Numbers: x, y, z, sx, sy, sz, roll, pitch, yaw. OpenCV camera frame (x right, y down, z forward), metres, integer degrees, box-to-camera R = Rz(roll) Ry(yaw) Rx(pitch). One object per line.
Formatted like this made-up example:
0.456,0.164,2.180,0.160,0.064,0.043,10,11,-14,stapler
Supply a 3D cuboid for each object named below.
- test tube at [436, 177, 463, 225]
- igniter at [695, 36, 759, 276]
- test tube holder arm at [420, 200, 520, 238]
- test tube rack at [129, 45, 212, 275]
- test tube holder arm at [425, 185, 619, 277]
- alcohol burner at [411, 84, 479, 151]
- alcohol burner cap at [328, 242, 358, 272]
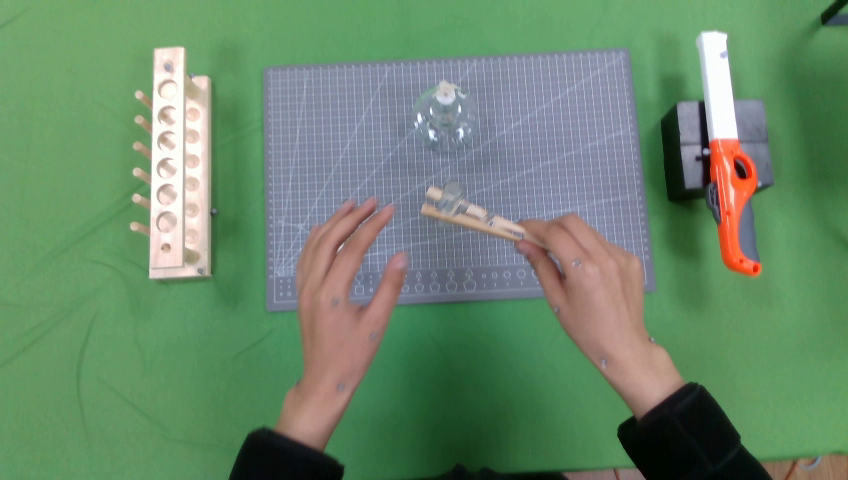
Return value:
0.020,-0.030,0.506,0.017,0.150,0.017,0,83,-1,test tube
0.331,-0.096,0.668,0.057,0.025,0.275,-1,78,-3,igniter
0.040,-0.017,0.513,0.088,0.015,0.010,16,89,-2,test tube holder arm
-0.288,-0.086,0.684,0.067,0.085,0.241,-3,80,0,test tube rack
0.084,-0.007,0.515,0.178,0.015,0.013,22,90,-2,test tube holder arm
0.023,-0.144,0.677,0.078,0.119,0.077,0,81,2,alcohol burner
-0.094,0.017,0.686,0.034,0.048,0.033,0,80,-1,alcohol burner cap
